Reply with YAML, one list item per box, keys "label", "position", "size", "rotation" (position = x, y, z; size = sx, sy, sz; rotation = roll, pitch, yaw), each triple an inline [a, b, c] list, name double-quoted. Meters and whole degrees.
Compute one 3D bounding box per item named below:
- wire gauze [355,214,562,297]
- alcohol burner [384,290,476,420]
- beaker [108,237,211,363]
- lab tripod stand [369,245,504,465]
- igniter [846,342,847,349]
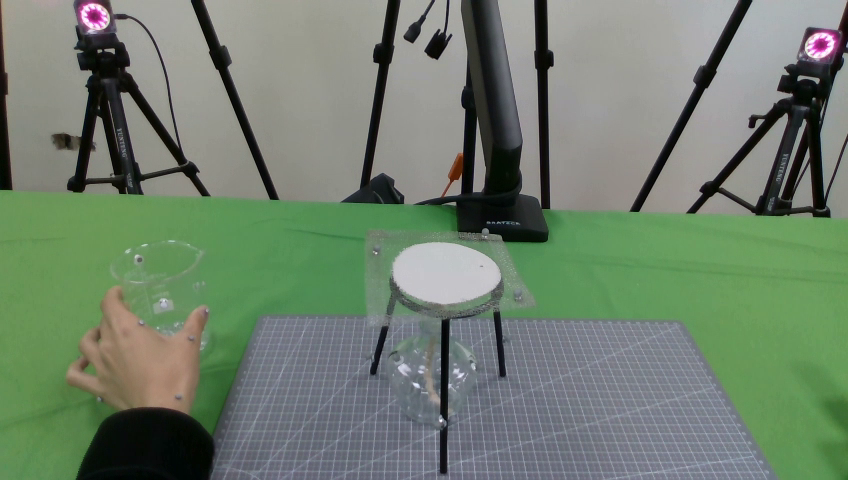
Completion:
- label: "wire gauze"
  position: [0.023, 0.010, 0.461]
  size: [0.125, 0.011, 0.120]
  rotation: [-6, 26, -27]
- label: "alcohol burner"
  position: [0.007, 0.091, 0.507]
  size: [0.078, 0.120, 0.077]
  rotation: [4, 30, -2]
- label: "beaker"
  position: [-0.240, 0.057, 0.568]
  size: [0.084, 0.101, 0.073]
  rotation: [-23, 39, -37]
- label: "lab tripod stand"
  position: [0.016, 0.085, 0.500]
  size: [0.148, 0.132, 0.147]
  rotation: [3, 32, -2]
- label: "igniter"
  position: [0.403, 0.153, 0.428]
  size: [0.057, 0.025, 0.274]
  rotation: [1, 27, -3]
